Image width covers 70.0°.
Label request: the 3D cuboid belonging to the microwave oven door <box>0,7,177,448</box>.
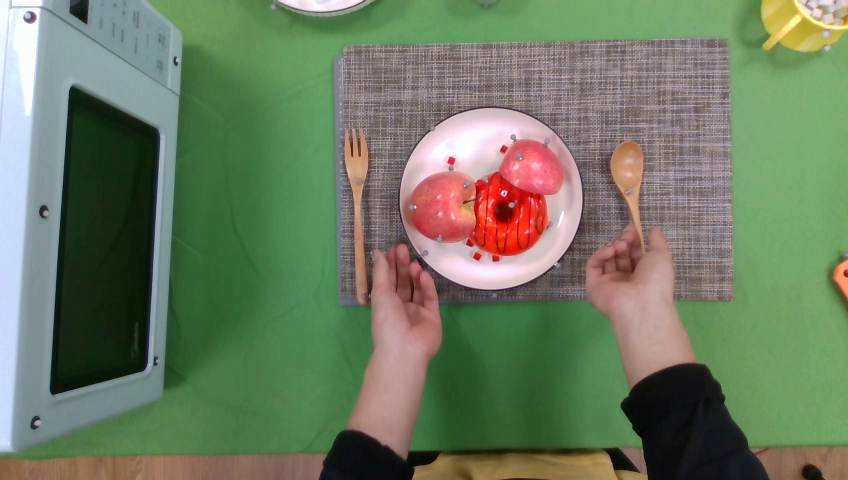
[{"bbox_3d":[-0.321,-0.005,0.594,0.039,0.244,0.355,1,87,4],"label":"microwave oven door"}]

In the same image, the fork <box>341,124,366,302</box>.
[{"bbox_3d":[-0.080,-0.032,0.707,0.028,0.018,0.207,-3,85,-4],"label":"fork"}]

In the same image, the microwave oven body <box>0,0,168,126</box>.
[{"bbox_3d":[-0.465,-0.051,0.610,0.326,0.260,0.441,2,88,3],"label":"microwave oven body"}]

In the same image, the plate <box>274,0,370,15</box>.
[{"bbox_3d":[-0.117,-0.366,0.719,0.207,0.039,0.207,0,87,4],"label":"plate"}]

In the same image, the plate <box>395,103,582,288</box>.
[{"bbox_3d":[0.072,-0.050,0.689,0.209,0.038,0.209,0,87,4],"label":"plate"}]

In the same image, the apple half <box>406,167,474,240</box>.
[{"bbox_3d":[0.012,-0.042,0.662,0.074,0.054,0.080,0,85,44],"label":"apple half"}]

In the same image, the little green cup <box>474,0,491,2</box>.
[{"bbox_3d":[0.069,-0.310,0.706,0.061,0.039,0.061,0,87,4],"label":"little green cup"}]

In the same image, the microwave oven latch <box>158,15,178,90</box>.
[{"bbox_3d":[-0.305,-0.218,0.705,0.030,0.029,0.079,2,88,3],"label":"microwave oven latch"}]

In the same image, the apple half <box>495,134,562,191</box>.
[{"bbox_3d":[0.121,-0.091,0.662,0.081,0.033,0.080,9,49,-10],"label":"apple half"}]

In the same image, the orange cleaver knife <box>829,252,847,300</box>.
[{"bbox_3d":[0.512,0.102,0.668,0.077,0.012,0.211,-16,85,-3],"label":"orange cleaver knife"}]

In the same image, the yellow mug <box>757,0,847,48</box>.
[{"bbox_3d":[0.422,-0.262,0.668,0.131,0.064,0.100,-43,86,2],"label":"yellow mug"}]

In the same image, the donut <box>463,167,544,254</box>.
[{"bbox_3d":[0.084,-0.033,0.675,0.099,0.048,0.099,0,86,0],"label":"donut"}]

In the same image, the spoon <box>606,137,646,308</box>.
[{"bbox_3d":[0.235,-0.019,0.686,0.042,0.021,0.193,-6,86,-19],"label":"spoon"}]
